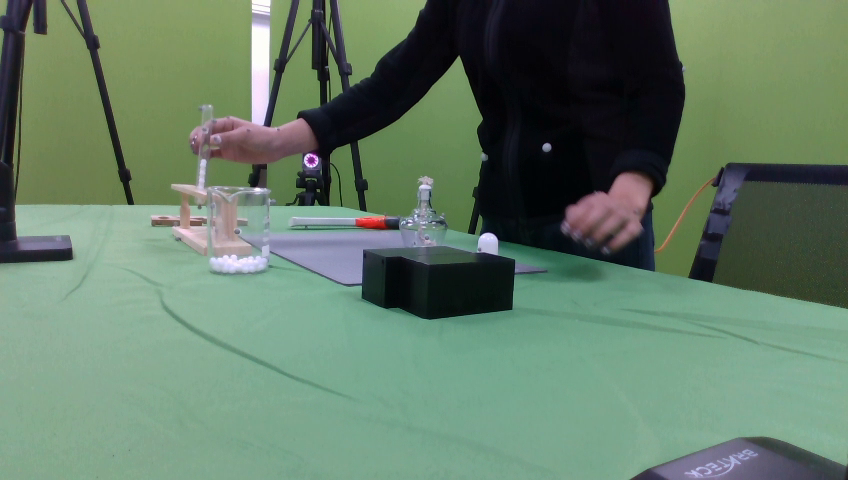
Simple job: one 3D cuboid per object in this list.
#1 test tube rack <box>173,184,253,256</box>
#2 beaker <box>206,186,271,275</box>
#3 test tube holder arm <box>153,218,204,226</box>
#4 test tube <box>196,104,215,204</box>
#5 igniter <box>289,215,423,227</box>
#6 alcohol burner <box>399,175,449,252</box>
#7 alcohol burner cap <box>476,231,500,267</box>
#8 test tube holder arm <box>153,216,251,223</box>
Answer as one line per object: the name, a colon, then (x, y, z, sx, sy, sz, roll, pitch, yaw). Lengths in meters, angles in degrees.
test tube rack: (-0.329, -0.036, 0.927, 0.067, 0.085, 0.241, -2, 9, -32)
beaker: (-0.220, -0.011, 0.717, 0.074, 0.100, 0.084, 2, 8, -3)
test tube holder arm: (-0.459, -0.034, 1.132, 0.088, 0.015, 0.010, -1, 43, -30)
test tube: (-0.327, -0.129, 0.904, 0.017, 0.150, 0.017, 4, -2, 0)
igniter: (-0.133, -0.038, 1.232, 0.278, 0.025, 0.057, -1, -2, -25)
alcohol burner: (0.000, -0.041, 0.937, 0.078, 0.119, 0.078, 0, 7, 0)
alcohol burner cap: (0.088, 0.012, 0.830, 0.034, 0.048, 0.034, 2, 6, 0)
test tube holder arm: (-0.422, -0.039, 1.159, 0.179, 0.015, 0.013, -2, 44, -31)
